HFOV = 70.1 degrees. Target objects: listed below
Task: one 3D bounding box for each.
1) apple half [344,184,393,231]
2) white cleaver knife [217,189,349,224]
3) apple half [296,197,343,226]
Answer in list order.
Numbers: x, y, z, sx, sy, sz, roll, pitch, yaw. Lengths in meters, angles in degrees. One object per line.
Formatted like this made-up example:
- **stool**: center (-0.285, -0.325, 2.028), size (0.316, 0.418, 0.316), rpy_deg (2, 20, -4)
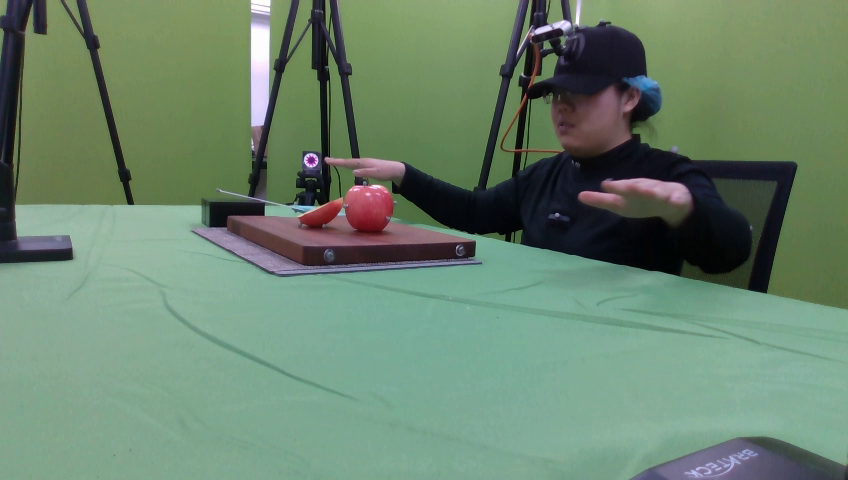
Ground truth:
- **apple half**: center (-0.079, -0.049, 0.947), size (0.053, 0.074, 0.081), rpy_deg (15, 10, 41)
- **white cleaver knife**: center (-0.275, -0.066, 1.233), size (0.288, 0.021, 0.065), rpy_deg (11, 6, -29)
- **apple half**: center (-0.163, -0.041, 0.979), size (0.081, 0.033, 0.081), rpy_deg (-21, 7, 3)
